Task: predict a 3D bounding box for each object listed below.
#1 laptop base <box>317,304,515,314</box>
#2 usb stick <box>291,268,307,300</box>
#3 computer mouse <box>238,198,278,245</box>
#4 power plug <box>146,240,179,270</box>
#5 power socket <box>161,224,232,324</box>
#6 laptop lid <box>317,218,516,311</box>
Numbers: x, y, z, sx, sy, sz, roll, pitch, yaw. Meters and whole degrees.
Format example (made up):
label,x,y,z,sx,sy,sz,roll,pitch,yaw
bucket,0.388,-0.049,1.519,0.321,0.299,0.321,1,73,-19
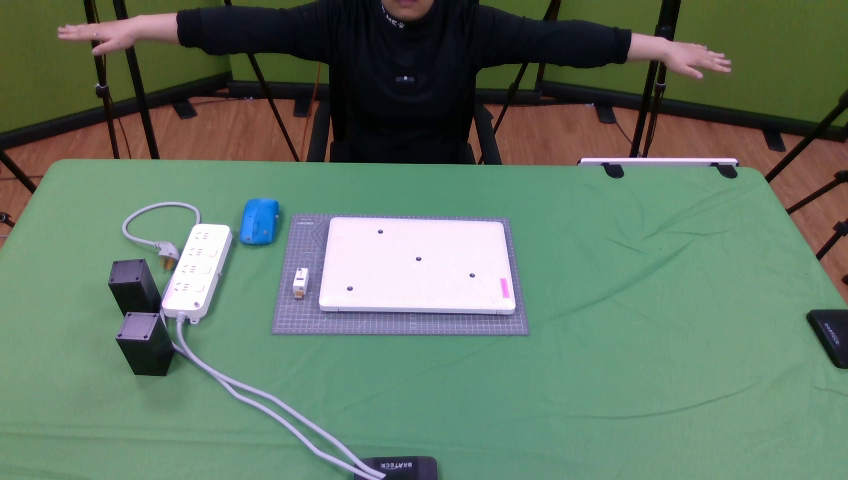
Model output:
label,x,y,z,sx,sy,sz,roll,pitch,yaw
laptop base,-0.014,0.049,1.150,0.354,0.023,0.234,1,42,-3
usb stick,-0.227,0.081,1.093,0.021,0.027,0.059,5,47,-2
computer mouse,-0.328,-0.039,1.200,0.063,0.041,0.116,4,50,-4
power plug,-0.489,0.029,1.129,0.072,0.035,0.052,1,64,25
power socket,-0.412,0.053,1.106,0.072,0.033,0.225,4,46,-1
laptop lid,-0.013,0.040,1.143,0.357,0.013,0.240,3,43,-2
